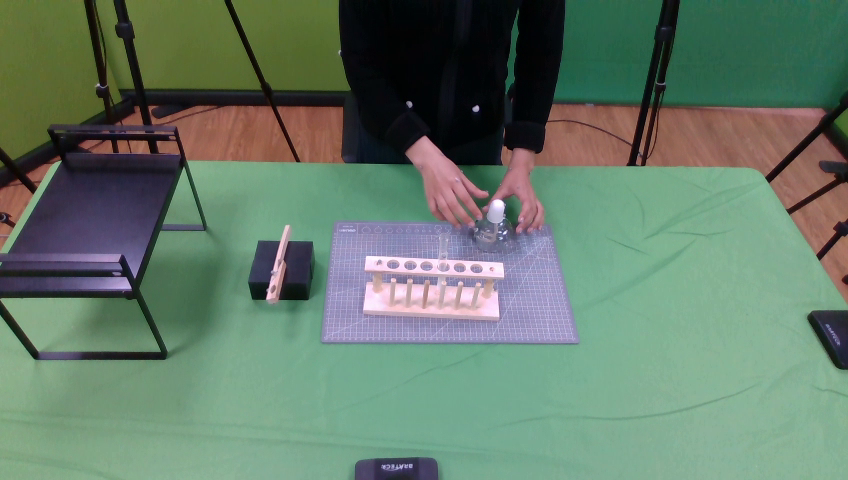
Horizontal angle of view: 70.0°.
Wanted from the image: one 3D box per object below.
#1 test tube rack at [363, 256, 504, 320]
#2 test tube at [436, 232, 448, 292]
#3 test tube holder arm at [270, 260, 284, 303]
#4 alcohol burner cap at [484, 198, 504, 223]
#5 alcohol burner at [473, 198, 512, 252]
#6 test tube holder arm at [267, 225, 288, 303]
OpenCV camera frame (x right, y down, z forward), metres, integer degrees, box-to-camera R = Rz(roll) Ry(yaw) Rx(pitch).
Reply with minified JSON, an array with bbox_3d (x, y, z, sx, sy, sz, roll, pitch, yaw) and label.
[{"bbox_3d":[0.015,0.085,1.069,0.242,0.085,0.066,3,45,-2],"label":"test tube rack"},{"bbox_3d":[0.030,0.042,1.042,0.017,0.151,0.017,1,48,-1],"label":"test tube"},{"bbox_3d":[-0.252,0.071,1.045,0.010,0.015,0.087,-4,46,2],"label":"test tube holder arm"},{"bbox_3d":[0.135,-0.059,1.149,0.034,0.048,0.033,5,50,-6],"label":"alcohol burner cap"},{"bbox_3d":[0.135,-0.034,1.174,0.078,0.120,0.077,1,47,-1],"label":"alcohol burner"},{"bbox_3d":[-0.259,0.039,1.077,0.013,0.015,0.177,-5,46,2],"label":"test tube holder arm"}]
